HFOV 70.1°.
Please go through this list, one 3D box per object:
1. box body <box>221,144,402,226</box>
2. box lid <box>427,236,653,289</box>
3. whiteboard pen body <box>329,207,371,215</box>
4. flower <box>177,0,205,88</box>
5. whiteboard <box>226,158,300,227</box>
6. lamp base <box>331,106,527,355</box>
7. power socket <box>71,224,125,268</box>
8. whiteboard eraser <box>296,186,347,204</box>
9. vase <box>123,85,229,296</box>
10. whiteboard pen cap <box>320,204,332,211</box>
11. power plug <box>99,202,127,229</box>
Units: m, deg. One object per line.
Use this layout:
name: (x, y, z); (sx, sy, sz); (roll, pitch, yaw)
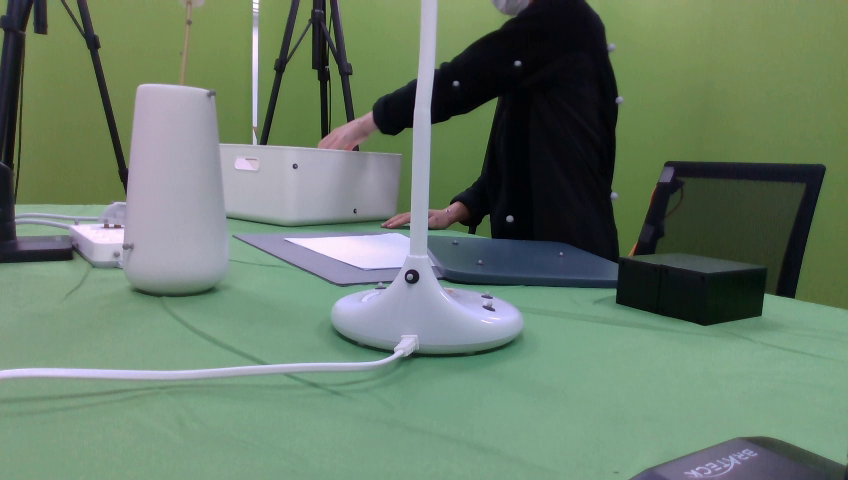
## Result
box body: (-0.254, -0.128, 1.379); (0.253, 0.160, 0.366); (8, 9, 36)
box lid: (0.139, 0.028, 0.886); (0.264, 0.015, 0.371); (2, 7, -6)
whiteboard pen body: (-0.189, -0.074, 1.521); (0.140, 0.017, 0.017); (7, 9, 36)
flower: (-0.243, -0.131, 0.609); (0.044, 0.361, 0.038); (-5, -12, 11)
whiteboard: (-0.265, -0.117, 1.372); (0.216, 0.143, 0.307); (4, 7, 36)
lamp base: (0.006, -0.012, 0.478); (0.161, 0.180, 0.179); (2, 10, 2)
power socket: (-0.409, 0.004, 0.793); (0.072, 0.032, 0.225); (-2, 8, -37)
whiteboard eraser: (-0.243, -0.107, 1.426); (0.112, 0.042, 0.056); (5, 14, 25)
vase: (-0.244, -0.047, 0.598); (0.098, 0.200, 0.098); (3, 8, 0)
whiteboard pen cap: (-0.247, -0.082, 1.531); (0.033, 0.018, 0.018); (8, 10, 39)
power plug: (-0.415, -0.026, 0.848); (0.073, 0.052, 0.035); (6, 5, -28)
